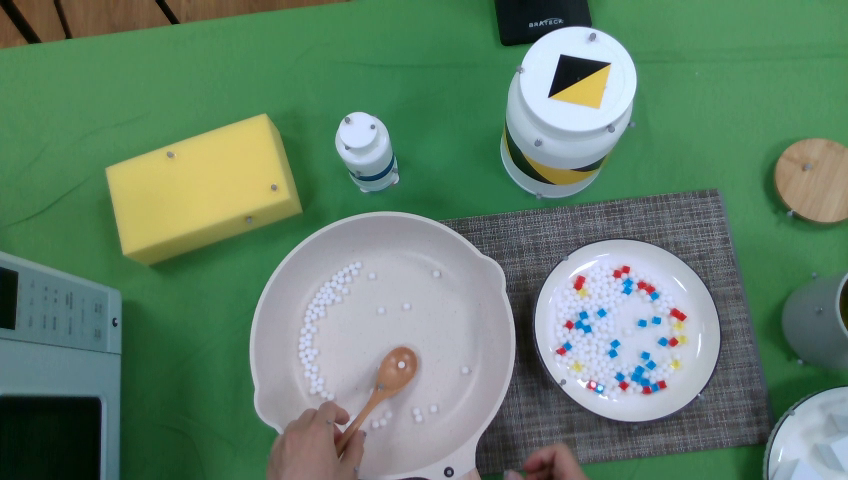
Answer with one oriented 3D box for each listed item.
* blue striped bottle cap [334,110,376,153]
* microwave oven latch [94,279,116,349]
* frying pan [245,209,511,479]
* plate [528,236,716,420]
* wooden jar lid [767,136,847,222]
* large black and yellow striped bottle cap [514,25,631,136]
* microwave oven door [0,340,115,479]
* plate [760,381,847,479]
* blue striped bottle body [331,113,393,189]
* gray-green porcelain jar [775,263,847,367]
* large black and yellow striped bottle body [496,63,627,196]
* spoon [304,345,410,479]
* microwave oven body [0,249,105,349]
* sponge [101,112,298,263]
[{"bbox_3d":[-0.077,-0.121,0.671,0.044,0.021,0.044,-1,74,5],"label":"blue striped bottle cap"},{"bbox_3d":[-0.382,0.087,0.713,0.030,0.029,0.079,-4,77,2],"label":"microwave oven latch"},{"bbox_3d":[0.000,0.195,0.651,0.307,0.103,0.484,-30,69,-3],"label":"frying pan"},{"bbox_3d":[0.223,0.099,0.697,0.209,0.038,0.208,-1,77,3],"label":"plate"},{"bbox_3d":[0.472,-0.073,0.738,0.108,0.021,0.108,-1,78,3],"label":"wooden jar lid"},{"bbox_3d":[0.147,-0.159,0.604,0.115,0.019,0.114,0,78,2],"label":"large black and yellow striped bottle cap"},{"bbox_3d":[-0.369,0.275,0.564,0.039,0.245,0.354,-7,76,1],"label":"microwave oven door"},{"bbox_3d":[0.465,0.258,0.652,0.207,0.039,0.206,-1,77,3],"label":"plate"},{"bbox_3d":[-0.074,-0.109,0.721,0.063,0.121,0.063,-1,76,3],"label":"blue striped bottle body"},{"bbox_3d":[0.452,0.082,0.648,0.106,0.127,0.105,-1,76,3],"label":"gray-green porcelain jar"},{"bbox_3d":[0.151,-0.137,0.685,0.131,0.185,0.130,-1,76,3],"label":"large black and yellow striped bottle body"},{"bbox_3d":[-0.075,0.191,0.661,0.042,0.021,0.193,46,52,-10],"label":"spoon"},{"bbox_3d":[-0.517,0.251,0.582,0.326,0.261,0.439,-6,77,1],"label":"microwave oven body"},{"bbox_3d":[-0.275,-0.064,0.751,0.207,0.061,0.117,-20,77,-3],"label":"sponge"}]
